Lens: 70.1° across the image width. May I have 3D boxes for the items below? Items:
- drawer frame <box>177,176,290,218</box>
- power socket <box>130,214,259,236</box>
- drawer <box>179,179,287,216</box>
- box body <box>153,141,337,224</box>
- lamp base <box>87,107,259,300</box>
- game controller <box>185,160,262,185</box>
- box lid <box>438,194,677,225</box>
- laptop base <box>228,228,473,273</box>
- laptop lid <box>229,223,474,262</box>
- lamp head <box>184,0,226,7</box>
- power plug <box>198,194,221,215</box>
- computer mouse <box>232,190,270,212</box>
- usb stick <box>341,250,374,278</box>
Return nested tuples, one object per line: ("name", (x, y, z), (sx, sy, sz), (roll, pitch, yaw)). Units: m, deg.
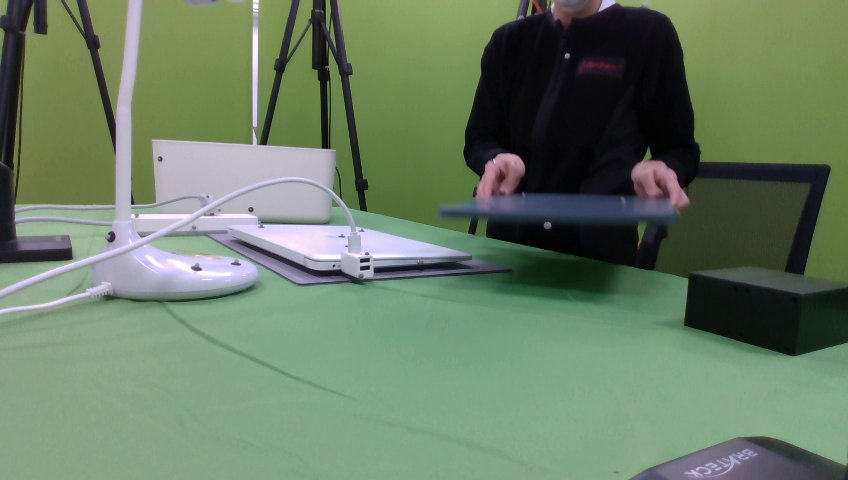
("drawer frame", (-0.410, -0.099, 1.338), (0.214, 0.082, 0.201), (-4, 6, -11))
("power socket", (-0.397, -0.028, 1.048), (0.228, 0.032, 0.072), (-3, 7, -35))
("drawer", (-0.413, -0.099, 1.341), (0.212, 0.073, 0.194), (2, 7, -12))
("box body", (-0.380, -0.130, 1.344), (0.365, 0.160, 0.253), (1, 7, -9))
("lamp base", (-0.254, -0.039, 0.603), (0.160, 0.180, 0.179), (5, 10, 18))
("game controller", (-0.441, -0.147, 1.320), (0.156, 0.051, 0.096), (-2, 4, -36))
("box lid", (0.193, -0.045, 0.812), (0.262, 0.015, 0.372), (2, 8, 20))
("laptop base", (-0.124, 0.012, 0.889), (0.237, 0.023, 0.352), (1, 7, -35))
("laptop lid", (-0.121, 0.000, 0.888), (0.243, 0.013, 0.355), (1, 7, -33))
("lamp head", (-0.229, -0.320, 0.627), (0.112, 0.112, 0.123), (6, -36, 26))
("power plug", (-0.386, -0.055, 1.088), (0.035, 0.052, 0.072), (-2, 7, -24))
("computer mouse", (-0.382, -0.087, 1.343), (0.063, 0.041, 0.117), (9, 11, -4))
("usb stick", (-0.078, 0.026, 0.686), (0.021, 0.027, 0.059), (-8, 8, -30))
